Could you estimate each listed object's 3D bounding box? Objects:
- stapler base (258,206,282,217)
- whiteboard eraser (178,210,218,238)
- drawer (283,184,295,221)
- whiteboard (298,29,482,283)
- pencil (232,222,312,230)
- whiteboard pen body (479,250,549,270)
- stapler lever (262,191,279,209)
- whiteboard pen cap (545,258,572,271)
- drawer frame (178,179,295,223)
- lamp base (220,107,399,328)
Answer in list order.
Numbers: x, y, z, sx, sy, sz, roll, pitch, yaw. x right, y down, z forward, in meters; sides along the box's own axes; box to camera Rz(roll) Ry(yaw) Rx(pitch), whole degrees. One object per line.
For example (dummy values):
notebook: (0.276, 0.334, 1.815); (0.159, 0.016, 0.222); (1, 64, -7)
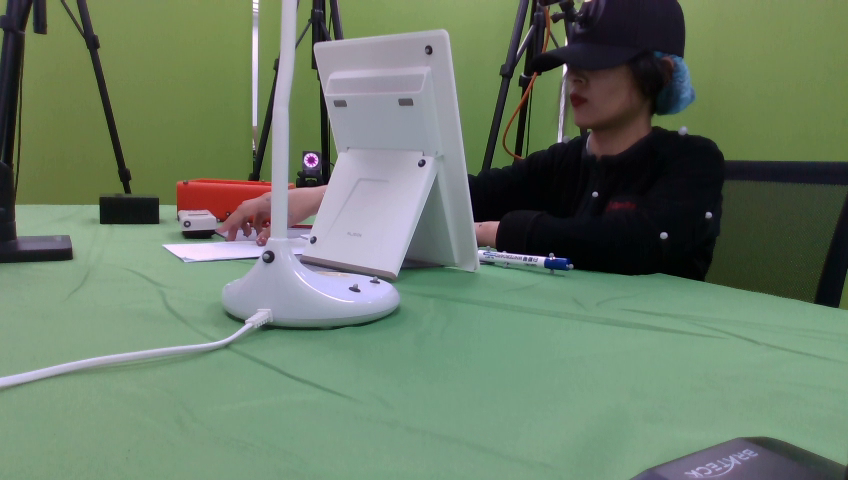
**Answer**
stapler base: (-0.331, -0.065, 1.305); (0.041, 0.024, 0.130); (9, -2, -9)
whiteboard eraser: (-0.380, -0.027, 1.014); (0.056, 0.042, 0.112); (0, 8, -25)
drawer: (-0.394, -0.087, 1.317); (0.212, 0.073, 0.194); (1, 8, -7)
whiteboard: (-0.075, -0.082, 0.742); (0.216, 0.305, 0.144); (9, 29, 37)
pencil: (-0.261, -0.025, 1.141); (0.195, 0.012, 0.012); (2, 7, -26)
whiteboard pen body: (0.130, 0.028, 0.827); (0.140, 0.017, 0.017); (7, 8, 38)
stapler lever: (-0.329, -0.086, 1.306); (0.027, 0.040, 0.118); (9, 3, -9)
whiteboard pen cap: (0.175, 0.032, 0.790); (0.033, 0.018, 0.018); (4, 7, 37)
drawer frame: (-0.397, -0.088, 1.315); (0.214, 0.082, 0.201); (1, 8, -8)
lamp base: (-0.101, -0.023, 0.531); (0.160, 0.180, 0.179); (4, 10, 10)
